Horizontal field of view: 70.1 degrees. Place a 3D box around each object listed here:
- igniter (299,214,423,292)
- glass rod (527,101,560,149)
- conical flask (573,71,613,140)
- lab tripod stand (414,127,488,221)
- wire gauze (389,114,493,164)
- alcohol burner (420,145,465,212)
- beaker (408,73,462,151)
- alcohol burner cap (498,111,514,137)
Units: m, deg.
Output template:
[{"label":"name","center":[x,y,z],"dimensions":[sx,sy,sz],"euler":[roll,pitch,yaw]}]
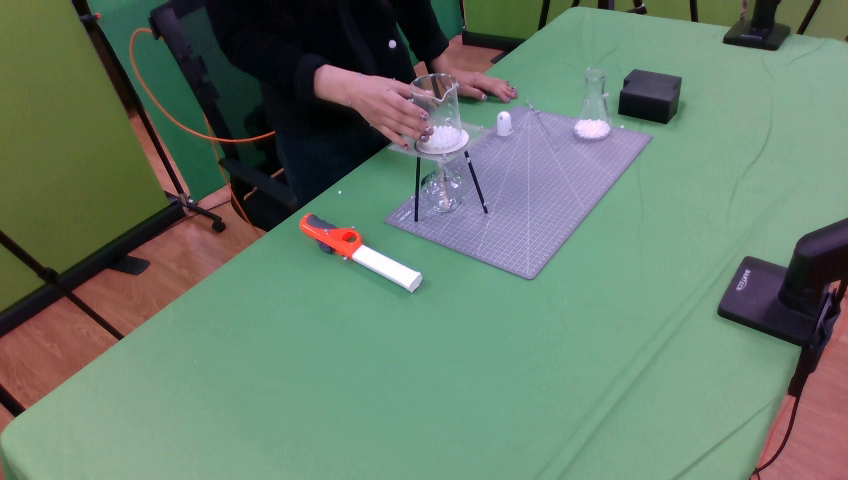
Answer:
[{"label":"igniter","center":[-0.112,0.016,0.983],"dimensions":[0.274,0.025,0.057],"euler":[25,62,35]},{"label":"glass rod","center":[0.240,-0.237,1.223],"dimensions":[0.008,0.008,0.198],"euler":[-12,40,-2]},{"label":"conical flask","center":[0.321,-0.256,1.142],"dimensions":[0.075,0.122,0.075],"euler":[-5,40,5]},{"label":"lab tripod stand","center":[0.035,-0.114,1.021],"dimensions":[0.148,0.132,0.147],"euler":[-7,39,6]},{"label":"wire gauze","center":[0.027,-0.163,0.978],"dimensions":[0.120,0.011,0.125],"euler":[22,50,36]},{"label":"alcohol burner","center":[0.030,-0.108,1.030],"dimensions":[0.078,0.119,0.077],"euler":[-5,38,4]},{"label":"beaker","center":[0.021,-0.197,0.943],"dimensions":[0.074,0.101,0.083],"euler":[-17,39,-7]},{"label":"alcohol burner cap","center":[0.163,-0.235,1.211],"dimensions":[0.034,0.048,0.033],"euler":[-6,40,6]}]
